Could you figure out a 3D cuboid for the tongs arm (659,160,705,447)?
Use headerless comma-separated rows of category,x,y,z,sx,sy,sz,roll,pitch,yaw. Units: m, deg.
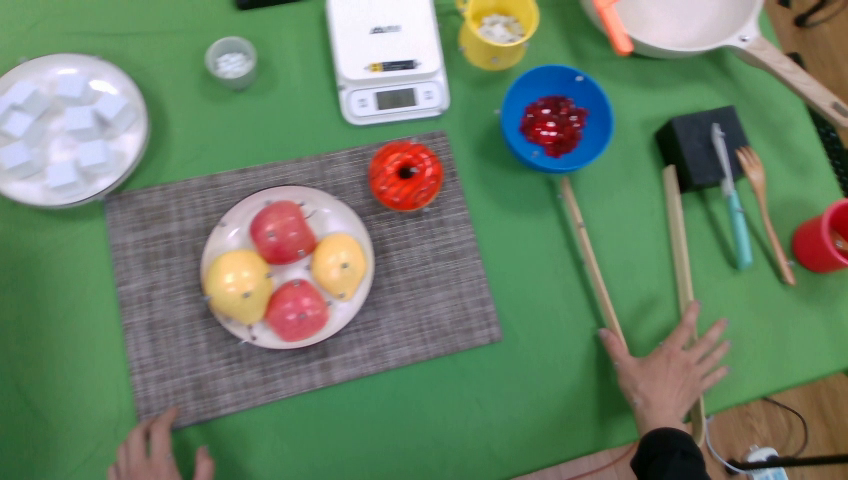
tongs arm,0.343,0.076,0.817,0.028,0.028,0.385,3,76,-15

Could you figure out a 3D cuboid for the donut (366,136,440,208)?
donut,-0.028,-0.090,0.798,0.099,0.048,0.098,1,77,-4

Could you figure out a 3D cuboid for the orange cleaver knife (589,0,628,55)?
orange cleaver knife,0.245,-0.357,0.849,0.077,0.012,0.210,-23,80,-14

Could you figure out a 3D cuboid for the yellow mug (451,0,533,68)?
yellow mug,0.086,-0.315,0.859,0.130,0.064,0.100,43,76,5

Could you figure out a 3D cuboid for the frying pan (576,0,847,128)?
frying pan,0.417,-0.328,0.883,0.306,0.103,0.485,-40,76,-13

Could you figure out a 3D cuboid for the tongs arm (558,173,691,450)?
tongs arm,0.259,0.088,0.798,0.051,0.026,0.383,-13,79,-15

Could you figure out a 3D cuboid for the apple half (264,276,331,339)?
apple half,-0.157,0.080,0.735,0.081,0.033,0.080,2,69,-4

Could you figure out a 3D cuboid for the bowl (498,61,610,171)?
bowl,0.166,-0.156,0.824,0.151,0.077,0.150,2,77,-6

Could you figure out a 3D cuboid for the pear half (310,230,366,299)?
pear half,-0.110,0.028,0.755,0.070,0.031,0.087,-15,75,4

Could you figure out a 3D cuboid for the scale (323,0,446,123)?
scale,-0.056,-0.267,0.848,0.149,0.031,0.200,-9,78,-8

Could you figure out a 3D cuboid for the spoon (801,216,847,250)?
spoon,0.580,0.022,0.795,0.042,0.022,0.191,-18,35,-11

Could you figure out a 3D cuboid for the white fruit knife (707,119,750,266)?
white fruit knife,0.415,-0.064,0.830,0.016,0.027,0.207,-15,93,-10

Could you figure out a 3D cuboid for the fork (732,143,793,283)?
fork,0.471,-0.037,0.838,0.028,0.018,0.207,-23,95,-14

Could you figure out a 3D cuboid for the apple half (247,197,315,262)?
apple half,-0.179,-0.014,0.746,0.075,0.053,0.080,-25,83,-9

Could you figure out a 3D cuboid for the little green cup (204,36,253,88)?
little green cup,-0.259,-0.236,0.813,0.061,0.039,0.061,2,76,-6

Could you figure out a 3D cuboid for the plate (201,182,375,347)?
plate,-0.165,0.030,0.755,0.209,0.038,0.208,2,76,-6

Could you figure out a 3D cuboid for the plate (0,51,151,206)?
plate,-0.452,-0.138,0.766,0.208,0.039,0.206,2,76,-6

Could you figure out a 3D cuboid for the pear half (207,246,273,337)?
pear half,-0.213,0.061,0.719,0.076,0.056,0.109,-19,82,-20
